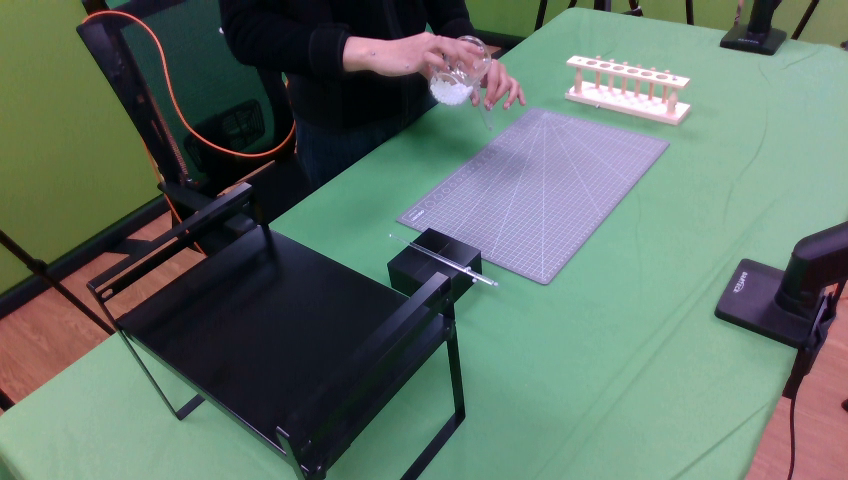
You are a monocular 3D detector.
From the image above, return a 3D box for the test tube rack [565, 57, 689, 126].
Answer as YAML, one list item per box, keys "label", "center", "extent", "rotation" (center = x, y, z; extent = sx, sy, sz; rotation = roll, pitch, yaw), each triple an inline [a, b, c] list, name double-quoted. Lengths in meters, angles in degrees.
- label: "test tube rack"
  center: [0.412, -0.311, 1.230]
  extent: [0.240, 0.085, 0.067]
  rotation: [24, 49, 32]

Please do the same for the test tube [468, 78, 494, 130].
- label: "test tube"
  center: [0.104, -0.242, 1.085]
  extent: [0.017, 0.151, 0.017]
  rotation: [-7, 67, 17]

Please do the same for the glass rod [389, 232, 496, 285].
- label: "glass rod"
  center: [0.022, 0.025, 0.878]
  extent: [0.198, 0.008, 0.008]
  rotation: [25, 50, 33]

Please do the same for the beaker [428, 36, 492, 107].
- label: "beaker"
  center: [0.056, -0.264, 0.966]
  extent: [0.073, 0.084, 0.100]
  rotation: [16, 50, 22]
